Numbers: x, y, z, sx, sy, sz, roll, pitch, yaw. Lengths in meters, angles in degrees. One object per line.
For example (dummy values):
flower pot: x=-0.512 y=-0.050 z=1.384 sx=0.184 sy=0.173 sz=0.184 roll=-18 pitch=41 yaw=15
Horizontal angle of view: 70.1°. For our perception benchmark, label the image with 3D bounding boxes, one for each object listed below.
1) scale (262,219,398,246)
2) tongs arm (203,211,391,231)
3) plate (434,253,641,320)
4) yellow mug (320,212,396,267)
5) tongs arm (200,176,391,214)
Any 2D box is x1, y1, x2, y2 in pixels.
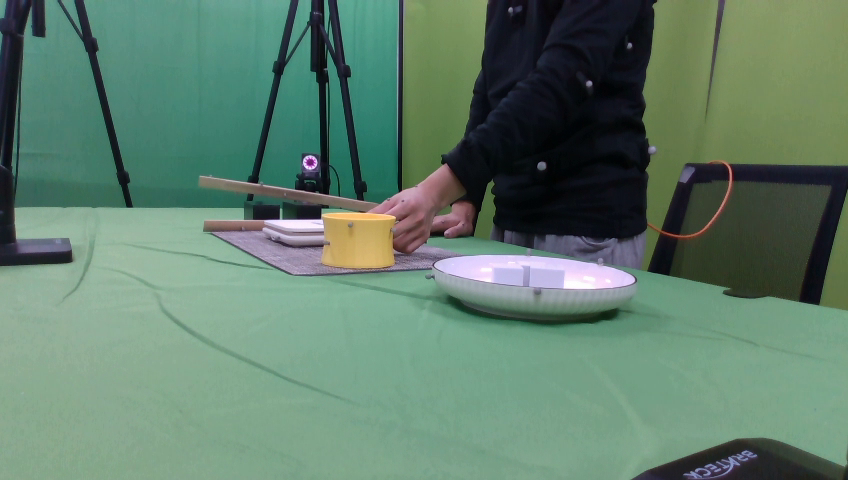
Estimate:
scale: x=-0.160 y=-0.016 z=1.028 sx=0.202 sy=0.031 sz=0.148 roll=-1 pitch=8 yaw=-31
tongs arm: x=-0.231 y=-0.036 z=1.185 sx=0.390 sy=0.028 sz=0.028 roll=-3 pitch=33 yaw=-33
plate: x=0.114 y=0.047 z=0.625 sx=0.208 sy=0.039 sz=0.207 roll=2 pitch=7 yaw=0
yellow mug: x=-0.088 y=-0.004 z=0.825 sx=0.100 sy=0.064 sz=0.131 roll=2 pitch=6 yaw=-2
tongs arm: x=-0.258 y=-0.084 z=1.245 sx=0.387 sy=0.026 sz=0.050 roll=6 pitch=32 yaw=-22
